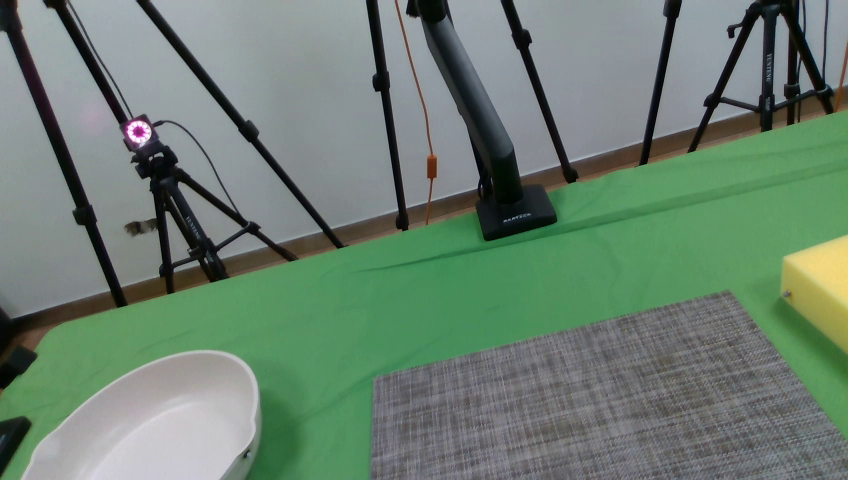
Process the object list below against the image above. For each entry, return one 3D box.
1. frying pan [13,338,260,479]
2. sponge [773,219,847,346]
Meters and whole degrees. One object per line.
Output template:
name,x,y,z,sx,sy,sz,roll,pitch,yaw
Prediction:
frying pan,-0.348,0.292,0.632,0.306,0.103,0.485,-8,27,18
sponge,0.474,0.060,0.608,0.118,0.061,0.204,-19,34,-1
